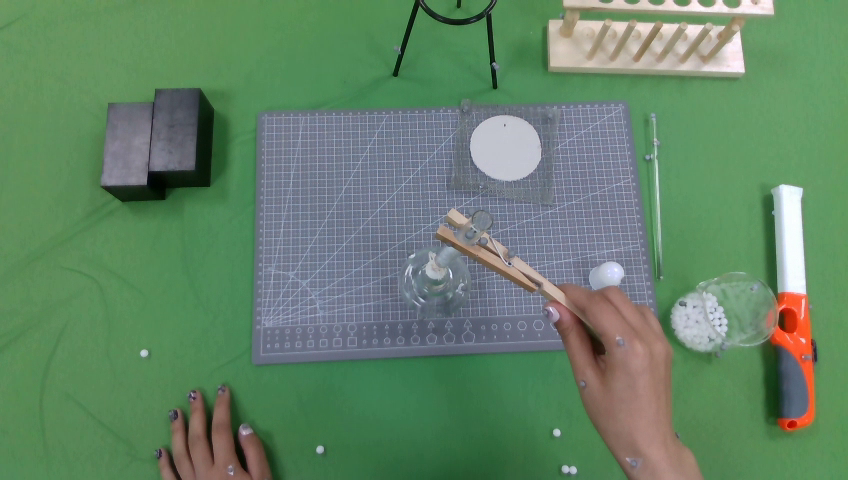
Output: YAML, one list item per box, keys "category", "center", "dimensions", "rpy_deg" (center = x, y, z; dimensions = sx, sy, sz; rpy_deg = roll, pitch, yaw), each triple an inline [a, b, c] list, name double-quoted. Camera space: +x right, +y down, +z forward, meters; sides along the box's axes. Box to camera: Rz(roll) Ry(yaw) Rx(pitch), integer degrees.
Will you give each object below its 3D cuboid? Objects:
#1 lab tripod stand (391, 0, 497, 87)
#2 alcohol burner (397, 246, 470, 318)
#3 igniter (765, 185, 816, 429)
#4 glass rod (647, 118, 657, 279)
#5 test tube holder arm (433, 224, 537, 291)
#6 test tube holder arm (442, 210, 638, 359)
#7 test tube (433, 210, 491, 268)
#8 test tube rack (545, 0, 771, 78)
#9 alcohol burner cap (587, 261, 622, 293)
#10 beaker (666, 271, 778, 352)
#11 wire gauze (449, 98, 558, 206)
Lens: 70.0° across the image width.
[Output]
- category: "lab tripod stand"
  center: [0.029, -0.247, 0.695]
  dimensions: [0.148, 0.132, 0.147]
  rpy_deg: [0, 77, -1]
- category: "alcohol burner"
  center: [0.010, 0.040, 0.628]
  dimensions: [0.078, 0.119, 0.077]
  rpy_deg: [0, 74, 0]
- category: "igniter"
  center: [0.409, 0.070, 0.679]
  dimensions: [0.057, 0.025, 0.275]
  rpy_deg: [9, 75, -10]
- category: "glass rod"
  center: [0.270, -0.052, 0.716]
  dimensions: [0.008, 0.008, 0.199]
  rpy_deg: [3, 78, -1]
- category: "test tube holder arm"
  center: [0.047, 0.014, 0.458]
  dimensions: [0.088, 0.015, 0.010]
  rpy_deg: [28, 79, -1]
- category: "test tube holder arm"
  center: [0.088, 0.034, 0.459]
  dimensions: [0.178, 0.015, 0.013]
  rpy_deg: [35, 79, 0]
- category: "test tube"
  center: [0.027, 0.003, 0.480]
  dimensions: [0.017, 0.150, 0.017]
  rpy_deg: [2, 77, -9]
- category: "test tube rack"
  center: [0.275, -0.250, 0.728]
  dimensions: [0.242, 0.085, 0.066]
  rpy_deg: [1, 75, -1]
- category: "alcohol burner cap"
  center: [0.203, 0.039, 0.671]
  dimensions: [0.034, 0.048, 0.033]
  rpy_deg: [0, 75, -1]
- category: "beaker"
  center: [0.304, 0.077, 0.638]
  dimensions: [0.084, 0.101, 0.074]
  rpy_deg: [29, 76, 7]
- category: "wire gauze"
  center: [0.096, -0.108, 0.723]
  dimensions: [0.125, 0.011, 0.121]
  rpy_deg: [9, 76, 0]
